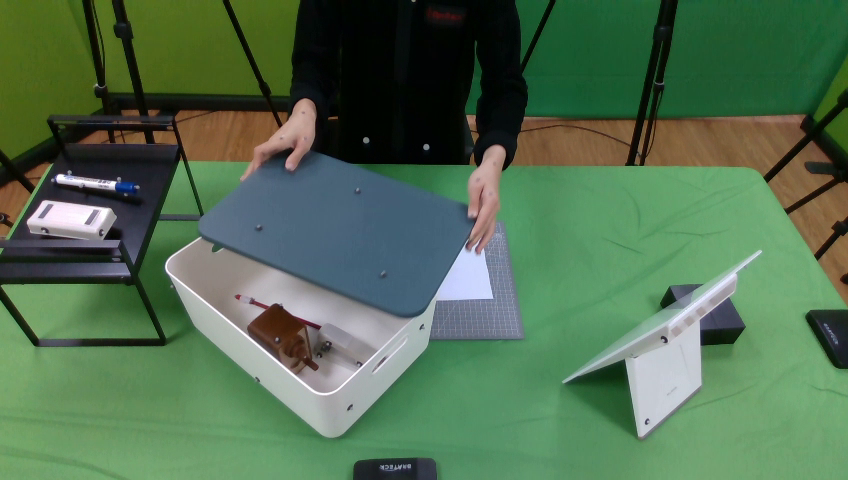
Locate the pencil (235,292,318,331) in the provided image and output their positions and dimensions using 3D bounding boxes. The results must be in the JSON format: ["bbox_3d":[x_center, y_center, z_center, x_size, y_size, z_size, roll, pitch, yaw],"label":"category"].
[{"bbox_3d":[-0.244,0.131,1.055,0.194,0.012,0.012,23,49,10],"label":"pencil"}]

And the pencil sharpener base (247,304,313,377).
[{"bbox_3d":[-0.224,0.166,0.956,0.076,0.107,0.061,29,53,24],"label":"pencil sharpener base"}]

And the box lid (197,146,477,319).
[{"bbox_3d":[-0.123,-0.026,0.929,0.371,0.015,0.262,20,45,13],"label":"box lid"}]

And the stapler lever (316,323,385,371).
[{"bbox_3d":[-0.120,0.171,0.977,0.118,0.040,0.027,22,51,13],"label":"stapler lever"}]

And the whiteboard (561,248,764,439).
[{"bbox_3d":[0.386,0.176,0.905,0.217,0.306,0.143,-26,72,-27],"label":"whiteboard"}]

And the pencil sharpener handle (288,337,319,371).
[{"bbox_3d":[-0.181,0.178,0.928,0.030,0.068,0.036,29,64,24],"label":"pencil sharpener handle"}]

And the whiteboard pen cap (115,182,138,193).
[{"bbox_3d":[-0.483,-0.086,0.984,0.033,0.018,0.018,7,46,10],"label":"whiteboard pen cap"}]

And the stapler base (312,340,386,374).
[{"bbox_3d":[-0.123,0.189,0.997,0.130,0.024,0.041,20,51,15],"label":"stapler base"}]

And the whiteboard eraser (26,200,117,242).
[{"bbox_3d":[-0.532,-0.026,0.919,0.113,0.042,0.055,7,45,3],"label":"whiteboard eraser"}]

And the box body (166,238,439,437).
[{"bbox_3d":[-0.190,0.108,0.980,0.362,0.161,0.254,32,52,24],"label":"box body"}]

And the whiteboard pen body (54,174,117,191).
[{"bbox_3d":[-0.541,-0.093,0.993,0.140,0.017,0.017,7,46,8],"label":"whiteboard pen body"}]
